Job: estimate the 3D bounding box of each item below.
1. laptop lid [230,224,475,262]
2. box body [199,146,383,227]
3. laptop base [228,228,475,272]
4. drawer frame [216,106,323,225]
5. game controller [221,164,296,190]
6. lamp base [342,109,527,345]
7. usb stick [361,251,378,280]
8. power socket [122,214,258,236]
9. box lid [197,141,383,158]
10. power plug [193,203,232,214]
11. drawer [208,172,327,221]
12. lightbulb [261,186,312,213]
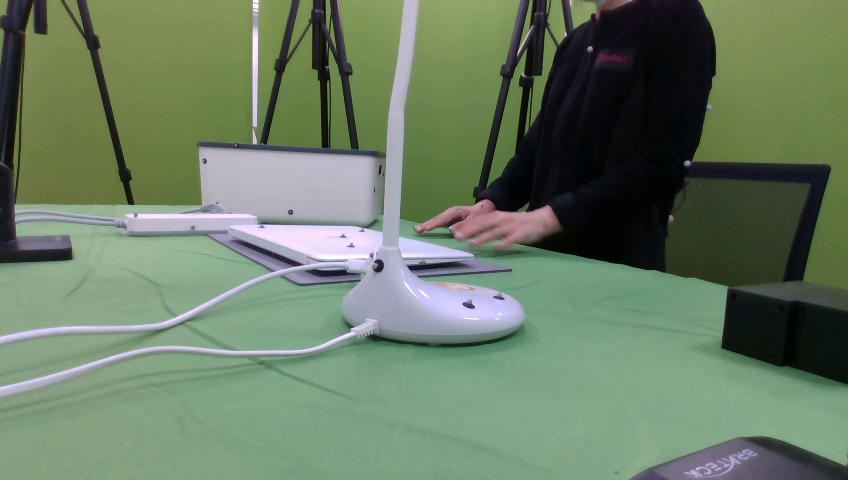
[{"bbox_3d":[-0.119,0.000,0.889,0.243,0.013,0.355,1,7,-33],"label":"laptop lid"},{"bbox_3d":[-0.276,-0.124,1.334,0.364,0.160,0.254,3,7,1],"label":"box body"},{"bbox_3d":[-0.122,0.011,0.889,0.237,0.023,0.352,2,6,-35],"label":"laptop base"},{"bbox_3d":[-0.311,-0.142,1.311,0.082,0.213,0.202,21,-19,29],"label":"drawer frame"},{"bbox_3d":[-0.363,-0.139,1.317,0.156,0.051,0.096,-1,10,-24],"label":"game controller"},{"bbox_3d":[0.006,-0.015,0.505,0.160,0.180,0.180,6,11,29],"label":"lamp base"},{"bbox_3d":[-0.051,0.033,0.656,0.027,0.021,0.059,4,-27,-21],"label":"usb stick"},{"bbox_3d":[-0.398,-0.028,1.049,0.228,0.032,0.072,-3,8,-34],"label":"power socket"},{"bbox_3d":[-0.275,-0.197,1.326,0.372,0.015,0.263,3,8,1],"label":"box lid"},{"bbox_3d":[-0.394,-0.042,1.139,0.072,0.052,0.035,-13,2,31],"label":"power plug"},{"bbox_3d":[-0.334,-0.101,1.326,0.212,0.073,0.194,8,11,-1],"label":"drawer"},{"bbox_3d":[-0.294,-0.082,1.293,0.108,0.059,0.059,-14,13,-20],"label":"lightbulb"}]
